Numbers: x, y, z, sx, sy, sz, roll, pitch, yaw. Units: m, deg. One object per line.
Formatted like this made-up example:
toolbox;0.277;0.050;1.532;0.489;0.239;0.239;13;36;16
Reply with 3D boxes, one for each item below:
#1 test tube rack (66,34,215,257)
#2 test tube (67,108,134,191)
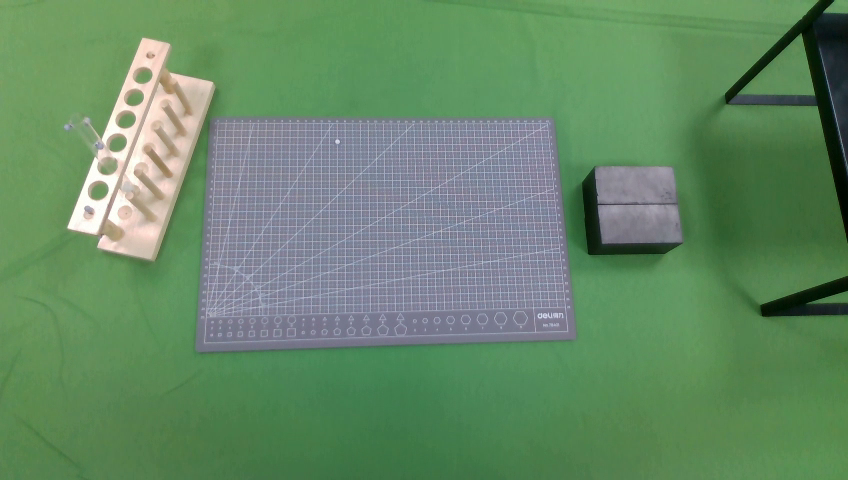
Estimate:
test tube rack;-0.328;-0.111;0.718;0.067;0.085;0.241;13;74;-1
test tube;-0.348;-0.093;0.660;0.017;0.151;0.017;2;66;-4
